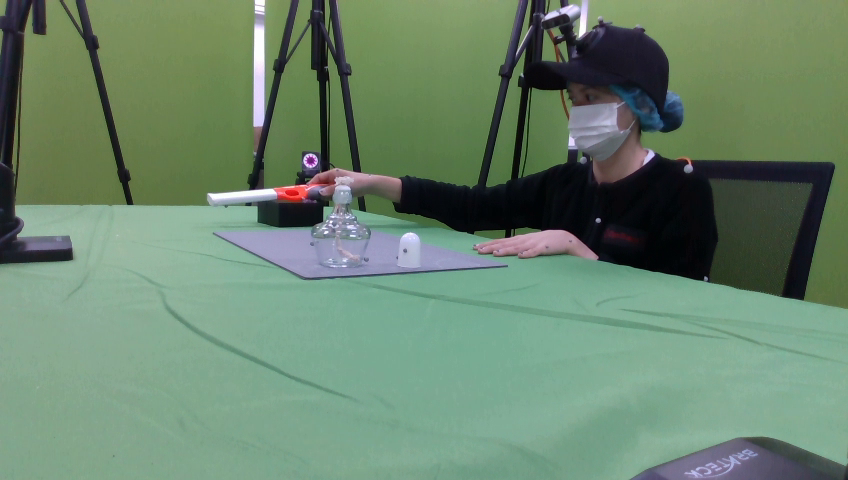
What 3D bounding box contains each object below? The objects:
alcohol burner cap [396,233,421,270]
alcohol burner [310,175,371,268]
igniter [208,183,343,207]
[{"bbox_3d":[-0.020,0.014,0.795,0.034,0.048,0.034,2,6,0],"label":"alcohol burner cap"},{"bbox_3d":[-0.107,-0.024,0.778,0.078,0.119,0.078,3,5,0],"label":"alcohol burner"},{"bbox_3d":[-0.295,-0.093,1.236,0.278,0.025,0.057,-8,33,-34],"label":"igniter"}]
